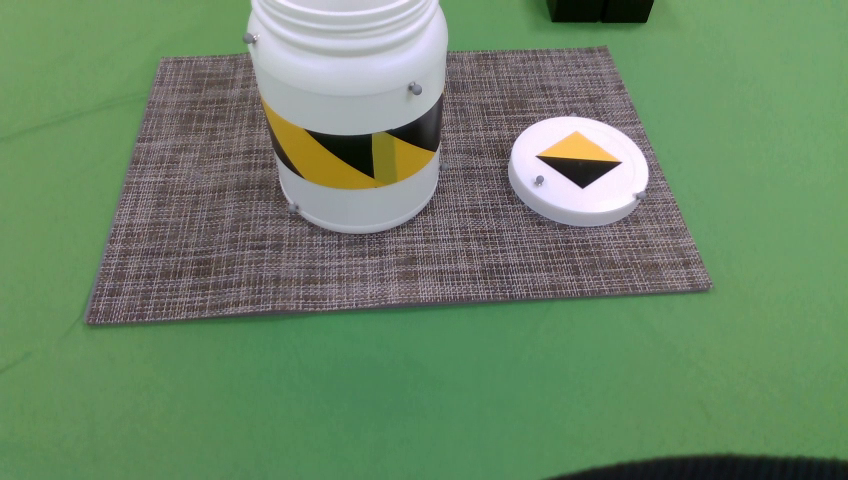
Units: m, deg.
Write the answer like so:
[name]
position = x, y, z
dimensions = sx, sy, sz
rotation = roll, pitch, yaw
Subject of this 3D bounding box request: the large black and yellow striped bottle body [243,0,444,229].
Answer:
[large black and yellow striped bottle body]
position = -0.053, -0.111, 0.432
dimensions = 0.131, 0.185, 0.129
rotation = 2, 53, -2

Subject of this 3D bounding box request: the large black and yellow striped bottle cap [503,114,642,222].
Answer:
[large black and yellow striped bottle cap]
position = 0.125, -0.064, 0.511
dimensions = 0.115, 0.019, 0.114
rotation = 2, 52, -2
